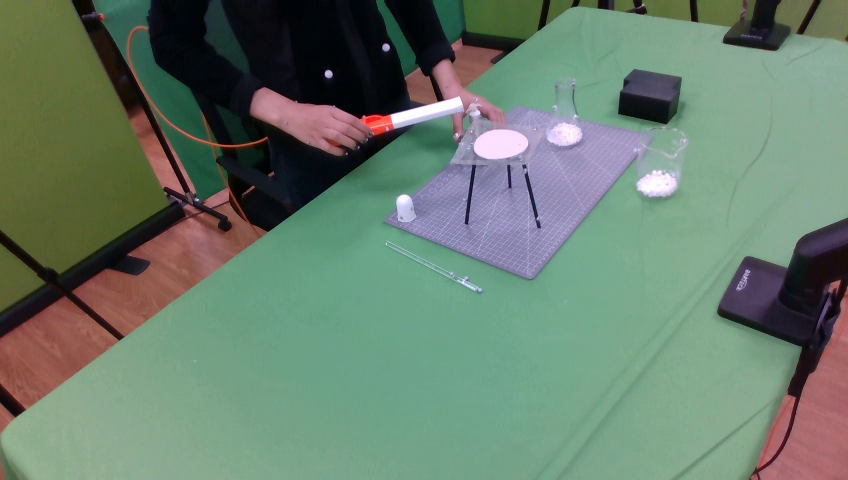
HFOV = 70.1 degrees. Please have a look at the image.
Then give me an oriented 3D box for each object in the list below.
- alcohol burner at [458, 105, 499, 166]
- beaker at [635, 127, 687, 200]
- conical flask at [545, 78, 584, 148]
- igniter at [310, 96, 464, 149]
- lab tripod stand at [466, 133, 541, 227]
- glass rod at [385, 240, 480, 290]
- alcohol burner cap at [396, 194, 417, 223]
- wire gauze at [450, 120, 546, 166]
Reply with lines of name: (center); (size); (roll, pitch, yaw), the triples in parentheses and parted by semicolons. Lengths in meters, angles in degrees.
alcohol burner: (0.099, -0.199, 1.125); (0.078, 0.120, 0.077); (-6, 41, 6)
beaker: (0.388, -0.122, 0.994); (0.074, 0.101, 0.083); (-8, 40, 2)
conical flask: (0.264, -0.241, 1.135); (0.075, 0.122, 0.075); (-6, 40, 5)
igniter: (-0.067, -0.206, 1.068); (0.277, 0.025, 0.057); (-14, 45, 1)
lab tripod stand: (0.129, -0.099, 0.985); (0.148, 0.132, 0.147); (-7, 38, 6)
glass rod: (0.009, 0.037, 0.950); (0.198, 0.008, 0.008); (26, 52, 34)
alcohol burner cap: (-0.032, -0.056, 1.036); (0.034, 0.048, 0.033); (-6, 41, 6)
wire gauze: (0.117, -0.151, 0.943); (0.121, 0.011, 0.125); (9, 43, 21)
